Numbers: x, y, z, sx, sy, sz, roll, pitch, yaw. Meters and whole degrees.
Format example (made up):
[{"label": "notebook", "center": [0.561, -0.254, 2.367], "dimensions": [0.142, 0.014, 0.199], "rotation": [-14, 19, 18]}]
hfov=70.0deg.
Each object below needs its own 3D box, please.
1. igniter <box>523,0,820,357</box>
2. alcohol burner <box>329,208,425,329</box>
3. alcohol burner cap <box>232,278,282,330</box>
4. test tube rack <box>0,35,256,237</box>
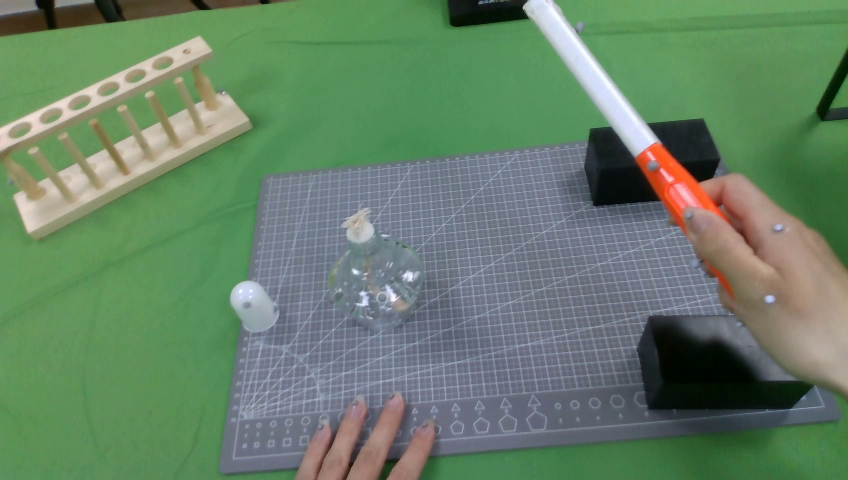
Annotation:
[{"label": "igniter", "center": [0.148, -0.046, 0.376], "dimensions": [0.025, 0.057, 0.275], "rotation": [-40, 74, 27]}, {"label": "alcohol burner", "center": [-0.040, 0.018, 0.473], "dimensions": [0.078, 0.120, 0.077], "rotation": [-4, 52, 5]}, {"label": "alcohol burner cap", "center": [-0.141, 0.051, 0.506], "dimensions": [0.034, 0.048, 0.033], "rotation": [-3, 55, 5]}, {"label": "test tube rack", "center": [-0.306, -0.109, 0.618], "dimensions": [0.242, 0.086, 0.066], "rotation": [-32, 57, -16]}]
